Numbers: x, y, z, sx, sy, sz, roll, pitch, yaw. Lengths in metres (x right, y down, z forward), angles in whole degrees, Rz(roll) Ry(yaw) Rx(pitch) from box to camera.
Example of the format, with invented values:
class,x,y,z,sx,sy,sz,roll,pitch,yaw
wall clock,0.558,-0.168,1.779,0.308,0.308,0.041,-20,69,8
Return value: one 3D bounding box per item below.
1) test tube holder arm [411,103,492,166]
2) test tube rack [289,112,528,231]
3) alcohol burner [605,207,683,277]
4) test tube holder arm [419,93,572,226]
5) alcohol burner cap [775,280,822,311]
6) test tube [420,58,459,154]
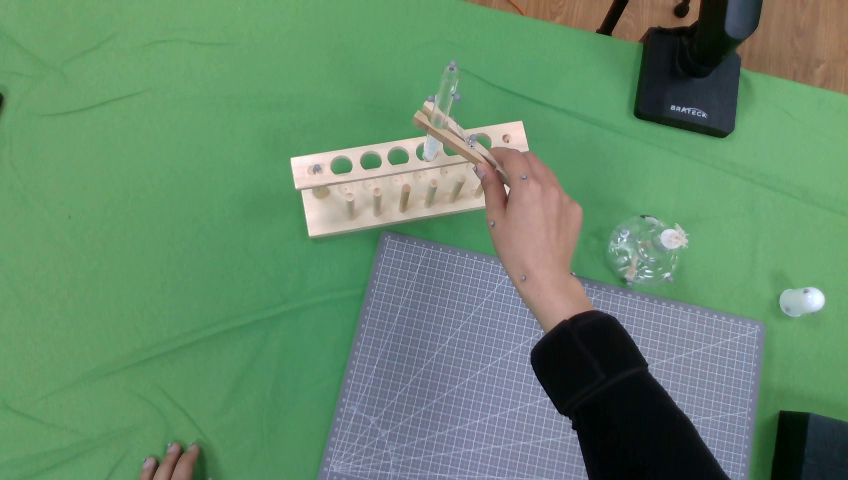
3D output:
class,x,y,z,sx,sy,sz,roll,pitch,yaw
test tube holder arm,0.027,-0.097,0.559,0.088,0.015,0.010,33,76,1
test tube rack,-0.013,-0.072,0.652,0.243,0.085,0.066,-10,79,-6
alcohol burner,0.240,-0.001,0.645,0.078,0.119,0.077,1,79,-5
test tube holder arm,0.066,-0.074,0.559,0.178,0.015,0.013,39,77,2
alcohol burner cap,0.426,0.061,0.684,0.034,0.048,0.033,1,78,-3
test tube,0.012,-0.116,0.553,0.017,0.151,0.017,2,72,-7
